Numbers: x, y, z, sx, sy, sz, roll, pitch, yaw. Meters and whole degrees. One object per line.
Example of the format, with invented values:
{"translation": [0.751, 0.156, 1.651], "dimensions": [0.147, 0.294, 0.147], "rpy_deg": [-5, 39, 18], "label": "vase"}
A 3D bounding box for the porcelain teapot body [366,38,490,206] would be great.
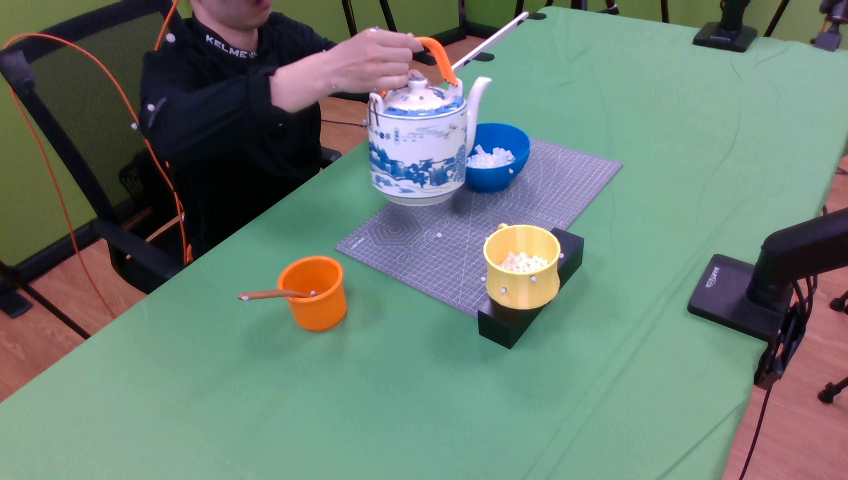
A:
{"translation": [0.012, -0.182, 0.888], "dimensions": [0.206, 0.226, 0.144], "rpy_deg": [-20, 35, -30], "label": "porcelain teapot body"}

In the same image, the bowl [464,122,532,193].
{"translation": [0.113, -0.136, 1.063], "dimensions": [0.151, 0.077, 0.150], "rpy_deg": [-4, 41, 4], "label": "bowl"}

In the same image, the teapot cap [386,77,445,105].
{"translation": [-0.012, -0.208, 0.854], "dimensions": [0.085, 0.044, 0.085], "rpy_deg": [2, 27, 0], "label": "teapot cap"}

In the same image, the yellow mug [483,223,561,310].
{"translation": [0.126, 0.025, 0.811], "dimensions": [0.100, 0.064, 0.130], "rpy_deg": [-16, 39, -9], "label": "yellow mug"}

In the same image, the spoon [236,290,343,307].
{"translation": [-0.176, 0.076, 0.808], "dimensions": [0.041, 0.195, 0.021], "rpy_deg": [23, 94, 30], "label": "spoon"}
